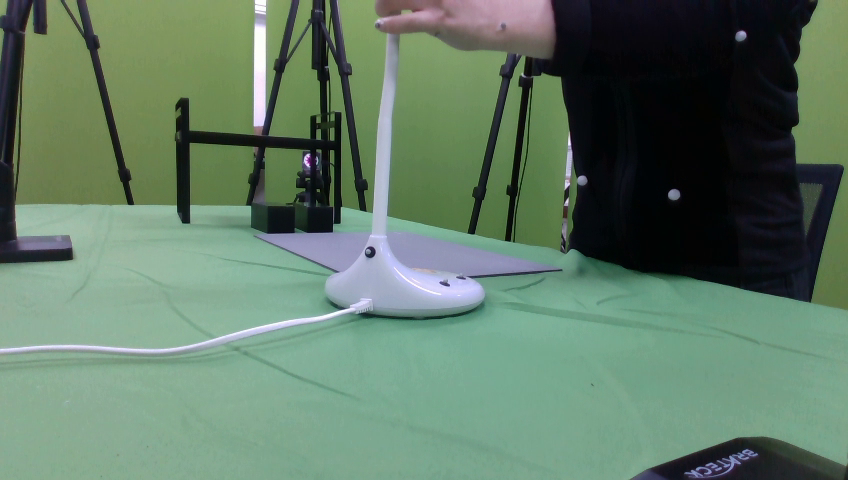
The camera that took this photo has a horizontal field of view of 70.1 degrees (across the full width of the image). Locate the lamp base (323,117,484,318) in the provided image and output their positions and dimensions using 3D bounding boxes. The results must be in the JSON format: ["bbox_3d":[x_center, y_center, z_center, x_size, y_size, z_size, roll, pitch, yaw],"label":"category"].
[{"bbox_3d":[-0.020,-0.025,0.583,0.160,0.180,0.179,5,10,16],"label":"lamp base"}]
